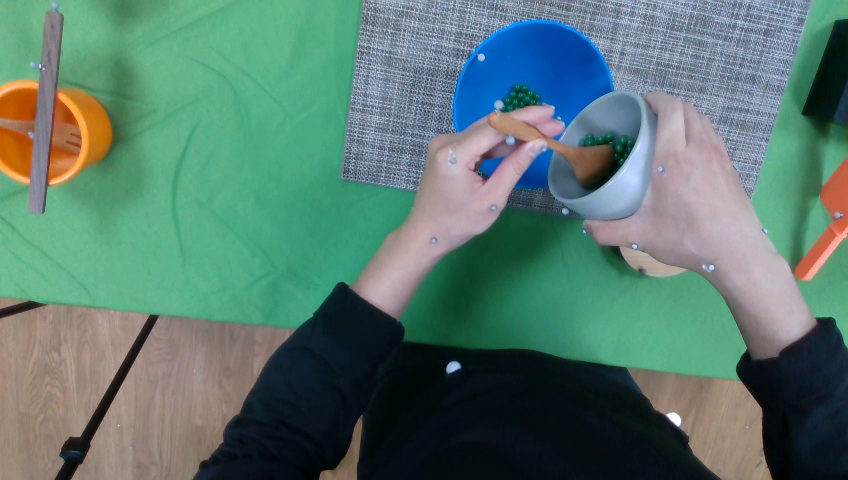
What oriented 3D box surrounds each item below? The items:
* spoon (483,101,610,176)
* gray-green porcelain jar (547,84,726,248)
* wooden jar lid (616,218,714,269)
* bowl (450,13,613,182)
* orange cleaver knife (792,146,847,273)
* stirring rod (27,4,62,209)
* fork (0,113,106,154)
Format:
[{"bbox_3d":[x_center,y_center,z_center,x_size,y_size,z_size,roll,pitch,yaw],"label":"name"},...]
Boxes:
[{"bbox_3d":[0.102,-0.082,0.485,0.195,0.021,0.042,8,122,-47],"label":"spoon"},{"bbox_3d":[0.188,-0.058,0.530,0.127,0.105,0.106,26,103,-26],"label":"gray-green porcelain jar"},{"bbox_3d":[0.262,-0.020,0.665,0.108,0.020,0.109,-1,112,-3],"label":"wooden jar lid"},{"bbox_3d":[0.096,-0.136,0.585,0.151,0.076,0.152,-1,107,-5],"label":"bowl"},{"bbox_3d":[0.451,-0.053,0.645,0.012,0.076,0.213,4,135,-9],"label":"orange cleaver knife"},{"bbox_3d":[-0.325,-0.110,0.518,0.014,0.006,0.176,12,106,-11],"label":"stirring rod"},{"bbox_3d":[-0.379,-0.111,0.515,0.028,0.018,0.209,-52,148,17],"label":"fork"}]
